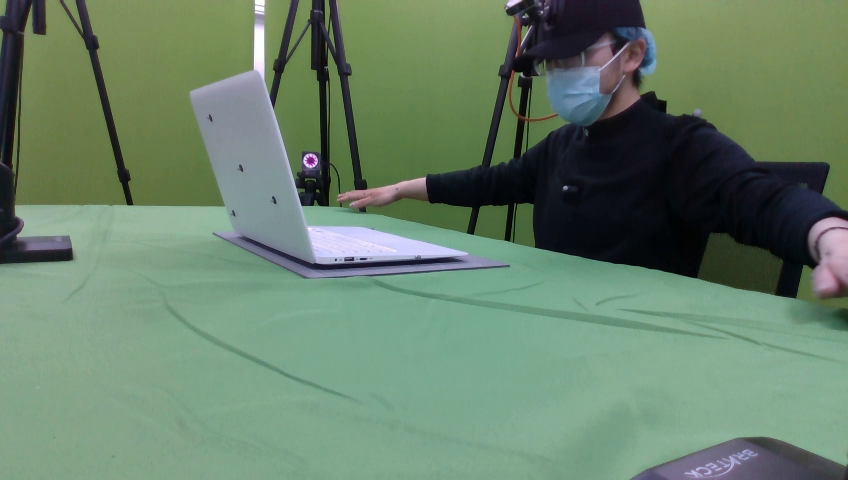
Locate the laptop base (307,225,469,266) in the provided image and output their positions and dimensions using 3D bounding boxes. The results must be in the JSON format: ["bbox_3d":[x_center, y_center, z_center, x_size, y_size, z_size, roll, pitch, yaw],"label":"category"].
[{"bbox_3d":[-0.125,0.006,0.936,0.237,0.023,0.352,1,7,-33],"label":"laptop base"}]

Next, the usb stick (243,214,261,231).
[{"bbox_3d":[-0.298,-0.030,1.053,0.021,0.027,0.059,0,10,-31],"label":"usb stick"}]

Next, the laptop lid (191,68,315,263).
[{"bbox_3d":[-0.250,-0.102,0.838,0.013,0.242,0.355,-22,20,-29],"label":"laptop lid"}]
